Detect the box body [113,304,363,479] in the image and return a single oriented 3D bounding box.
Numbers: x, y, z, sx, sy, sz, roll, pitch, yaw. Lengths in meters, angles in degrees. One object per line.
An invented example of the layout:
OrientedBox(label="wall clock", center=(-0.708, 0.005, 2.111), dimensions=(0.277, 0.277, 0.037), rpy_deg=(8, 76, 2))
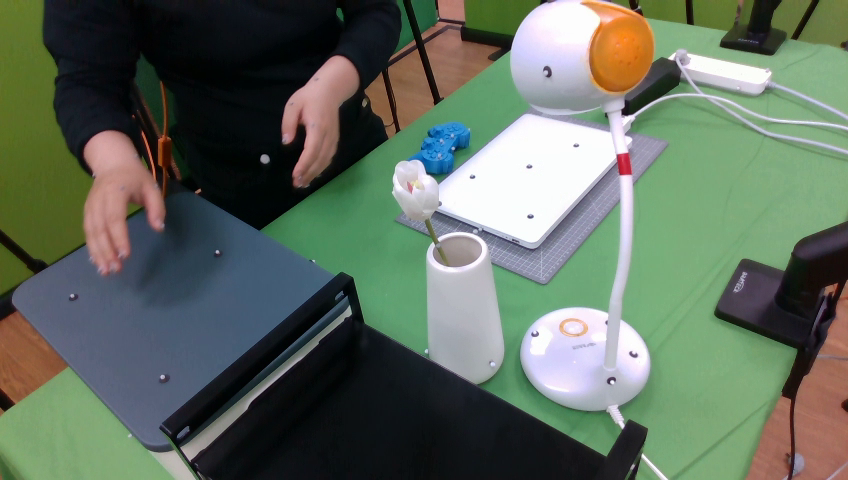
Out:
OrientedBox(label="box body", center=(-0.284, 0.123, 0.765), dimensions=(0.361, 0.161, 0.255), rpy_deg=(25, 49, 33))

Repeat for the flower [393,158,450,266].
OrientedBox(label="flower", center=(0.028, 0.036, 0.664), dimensions=(0.043, 0.364, 0.038), rpy_deg=(36, 73, 30))

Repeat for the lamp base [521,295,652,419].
OrientedBox(label="lamp base", center=(0.201, 0.095, 0.710), dimensions=(0.161, 0.181, 0.178), rpy_deg=(-16, 43, -10))

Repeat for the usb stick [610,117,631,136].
OrientedBox(label="usb stick", center=(0.369, -0.208, 1.147), dimensions=(0.021, 0.027, 0.059), rpy_deg=(26, 56, 33))

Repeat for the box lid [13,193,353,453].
OrientedBox(label="box lid", center=(-0.290, 0.067, 0.716), dimensions=(0.368, 0.015, 0.264), rpy_deg=(26, 50, 32))

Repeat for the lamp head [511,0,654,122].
OrientedBox(label="lamp head", center=(0.155, -0.168, 0.563), dimensions=(0.113, 0.113, 0.122), rpy_deg=(-18, 23, -12))

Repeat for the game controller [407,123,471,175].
OrientedBox(label="game controller", center=(0.028, -0.182, 1.169), dimensions=(0.096, 0.052, 0.155), rpy_deg=(16, 45, 18))

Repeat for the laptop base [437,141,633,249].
OrientedBox(label="laptop base", center=(0.193, -0.117, 1.087), dimensions=(0.233, 0.023, 0.355), rpy_deg=(21, 48, 35))

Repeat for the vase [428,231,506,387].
OrientedBox(label="vase", center=(0.050, 0.087, 0.728), dimensions=(0.098, 0.201, 0.097), rpy_deg=(-3, 40, 3))

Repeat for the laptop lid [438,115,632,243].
OrientedBox(label="laptop lid", center=(0.189, -0.126, 1.081), dimensions=(0.239, 0.013, 0.358), rpy_deg=(23, 49, 35))

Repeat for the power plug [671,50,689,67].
OrientedBox(label="power plug", center=(0.540, -0.379, 1.302), dimensions=(0.073, 0.053, 0.035), rpy_deg=(-31, 46, -23))

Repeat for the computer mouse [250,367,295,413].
OrientedBox(label="computer mouse", center=(-0.197, 0.182, 0.771), dimensions=(0.063, 0.041, 0.116), rpy_deg=(-12, 47, -11))

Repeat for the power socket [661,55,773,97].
OrientedBox(label="power socket", center=(0.619, -0.353, 1.289), dimensions=(0.225, 0.033, 0.072), rpy_deg=(26, 51, 33))
